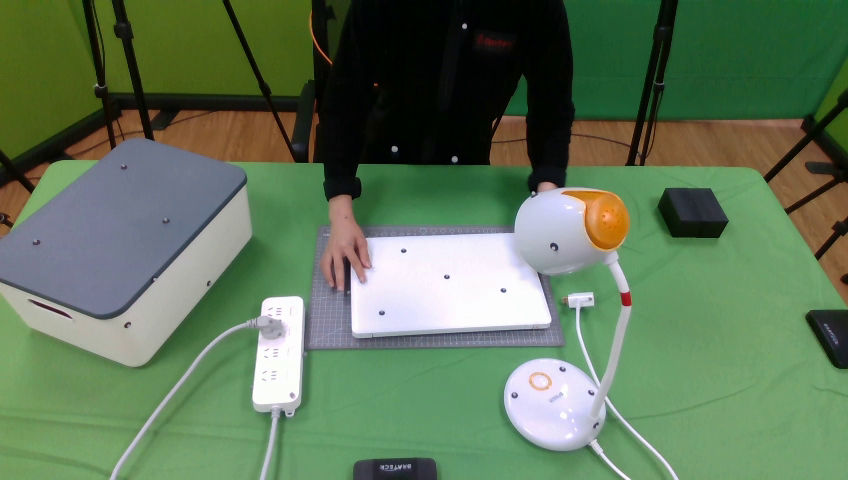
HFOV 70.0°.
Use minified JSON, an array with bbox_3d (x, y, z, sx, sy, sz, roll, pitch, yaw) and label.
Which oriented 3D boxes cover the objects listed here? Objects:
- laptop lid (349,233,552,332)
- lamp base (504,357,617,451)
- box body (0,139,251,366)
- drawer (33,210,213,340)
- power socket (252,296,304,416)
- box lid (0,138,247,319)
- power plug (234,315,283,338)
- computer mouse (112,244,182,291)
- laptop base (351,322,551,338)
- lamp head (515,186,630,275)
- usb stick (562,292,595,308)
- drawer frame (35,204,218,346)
[{"bbox_3d":[0.040,0.070,1.119,0.357,0.013,0.240,-1,44,-5],"label":"laptop lid"},{"bbox_3d":[0.220,0.211,0.903,0.160,0.181,0.178,-32,59,-30],"label":"lamp base"},{"bbox_3d":[-0.496,0.013,1.048,0.254,0.161,0.362,17,47,12],"label":"box body"},{"bbox_3d":[-0.509,0.054,1.046,0.194,0.073,0.211,15,43,11],"label":"drawer"},{"bbox_3d":[-0.238,0.182,0.997,0.072,0.033,0.225,-3,47,-5],"label":"power socket"},{"bbox_3d":[-0.494,-0.037,0.994,0.263,0.015,0.370,17,46,12],"label":"box lid"},{"bbox_3d":[-0.269,0.144,1.000,0.072,0.053,0.035,4,47,2],"label":"power plug"},{"bbox_3d":[-0.493,0.046,1.078,0.117,0.041,0.062,24,41,13],"label":"computer mouse"},{"bbox_3d":[0.040,0.081,1.126,0.355,0.023,0.234,-2,43,-7],"label":"laptop base"},{"bbox_3d":[0.188,-0.013,0.728,0.112,0.112,0.122,-25,9,-25],"label":"lamp head"},{"bbox_3d":[0.280,0.109,1.104,0.059,0.021,0.027,-6,12,22],"label":"usb stick"},{"bbox_3d":[-0.505,0.054,1.052,0.201,0.083,0.212,14,52,12],"label":"drawer frame"}]
